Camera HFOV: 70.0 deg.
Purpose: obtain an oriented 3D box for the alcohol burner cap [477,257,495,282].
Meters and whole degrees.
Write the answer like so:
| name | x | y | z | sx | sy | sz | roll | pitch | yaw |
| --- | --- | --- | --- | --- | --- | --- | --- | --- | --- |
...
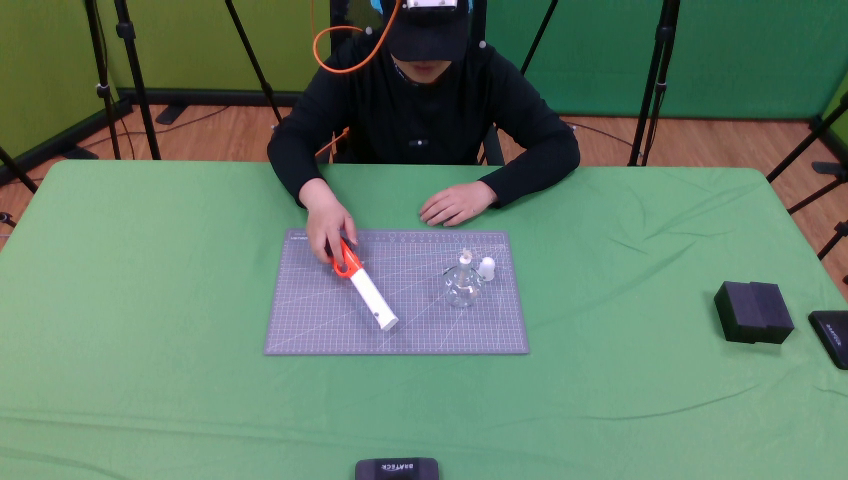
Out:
| name | x | y | z | sx | sy | sz | roll | pitch | yaw |
| --- | --- | --- | --- | --- | --- | --- | --- | --- | --- |
| alcohol burner cap | 0.118 | 0.053 | 1.139 | 0.034 | 0.048 | 0.033 | 2 | 46 | -2 |

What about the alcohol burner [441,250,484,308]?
| name | x | y | z | sx | sy | sz | roll | pitch | yaw |
| --- | --- | --- | --- | --- | --- | --- | --- | --- | --- |
| alcohol burner | 0.069 | 0.064 | 1.075 | 0.078 | 0.120 | 0.077 | 1 | 45 | -1 |

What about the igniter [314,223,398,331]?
| name | x | y | z | sx | sy | sz | roll | pitch | yaw |
| --- | --- | --- | --- | --- | --- | --- | --- | --- | --- |
| igniter | -0.128 | 0.057 | 1.097 | 0.057 | 0.025 | 0.274 | -45 | 55 | 6 |
